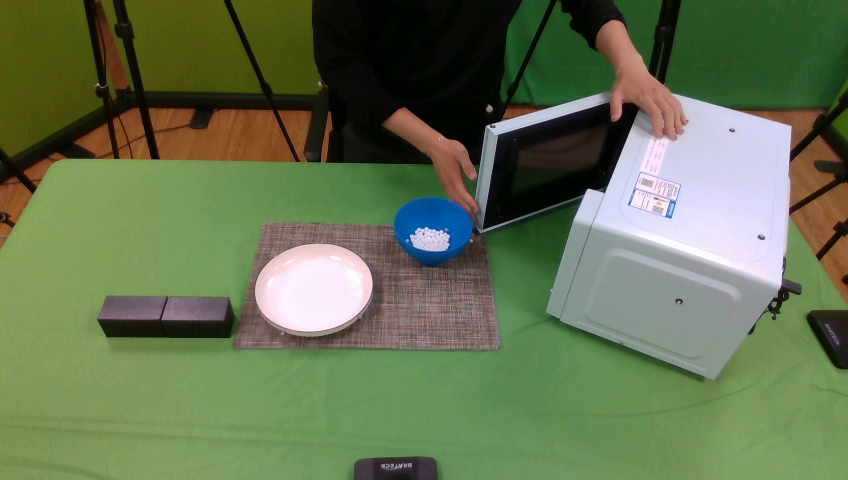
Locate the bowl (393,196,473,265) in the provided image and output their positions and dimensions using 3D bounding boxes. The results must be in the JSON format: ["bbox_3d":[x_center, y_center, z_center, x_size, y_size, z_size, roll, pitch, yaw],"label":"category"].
[{"bbox_3d":[0.014,-0.006,1.159,0.151,0.077,0.150,2,46,-2],"label":"bowl"}]

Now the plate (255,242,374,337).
[{"bbox_3d":[-0.192,0.090,1.079,0.208,0.039,0.206,2,46,-2],"label":"plate"}]

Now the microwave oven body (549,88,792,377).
[{"bbox_3d":[0.456,-0.028,1.088,0.325,0.261,0.440,20,47,16],"label":"microwave oven body"}]

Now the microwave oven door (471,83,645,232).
[{"bbox_3d":[0.264,-0.163,1.197,0.356,0.245,0.039,-19,50,-21],"label":"microwave oven door"}]

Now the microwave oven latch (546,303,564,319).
[{"bbox_3d":[0.242,0.102,1.081,0.030,0.029,0.079,22,48,17],"label":"microwave oven latch"}]
